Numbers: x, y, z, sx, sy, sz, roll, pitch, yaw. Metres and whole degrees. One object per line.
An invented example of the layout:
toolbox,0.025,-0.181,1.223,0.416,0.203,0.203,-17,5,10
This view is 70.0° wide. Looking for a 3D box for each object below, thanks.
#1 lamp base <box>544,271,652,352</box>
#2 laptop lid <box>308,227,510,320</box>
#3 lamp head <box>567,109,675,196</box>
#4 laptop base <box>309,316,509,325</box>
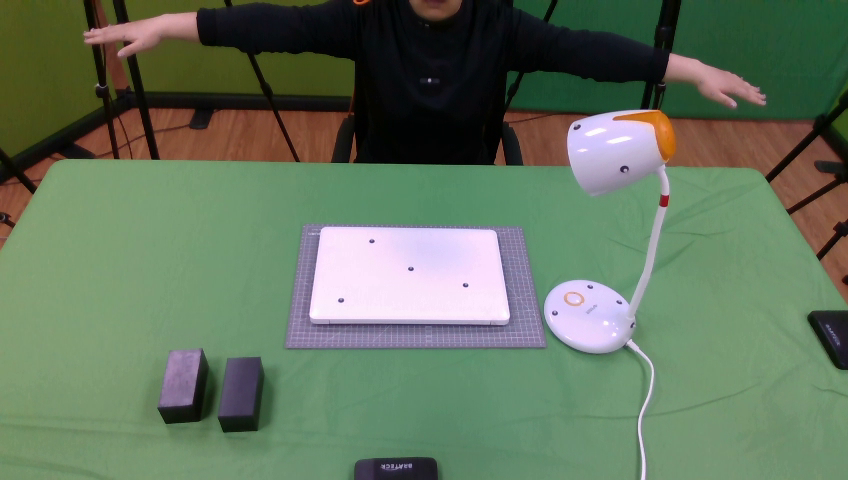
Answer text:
lamp base,0.309,0.086,1.029,0.178,0.181,0.160,32,52,21
laptop lid,-0.027,0.056,1.127,0.357,0.013,0.240,2,44,-3
lamp head,0.272,-0.123,0.818,0.122,0.113,0.112,-9,35,37
laptop base,-0.028,0.066,1.134,0.355,0.023,0.234,1,43,-4
